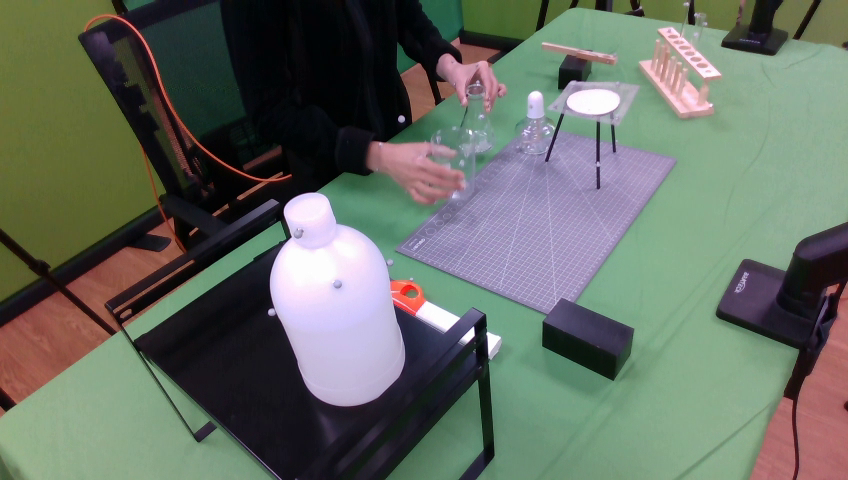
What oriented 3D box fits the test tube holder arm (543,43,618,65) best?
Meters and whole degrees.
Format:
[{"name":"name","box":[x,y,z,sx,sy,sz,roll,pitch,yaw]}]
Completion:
[{"name":"test tube holder arm","box":[0.344,-0.413,1.340,0.177,0.015,0.013,25,51,31]}]

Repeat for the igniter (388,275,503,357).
[{"name":"igniter","box":[-0.008,0.093,0.870,0.274,0.025,0.057,24,60,33]}]

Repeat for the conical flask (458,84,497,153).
[{"name":"conical flask","box":[0.098,-0.225,1.115,0.075,0.122,0.075,-2,48,3]}]

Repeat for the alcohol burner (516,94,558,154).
[{"name":"alcohol burner","box":[0.212,-0.222,1.135,0.078,0.119,0.077,-5,43,5]}]

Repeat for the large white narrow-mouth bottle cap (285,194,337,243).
[{"name":"large white narrow-mouth bottle cap","box":[-0.087,-0.017,0.467,0.038,0.024,0.037,-4,40,4]}]

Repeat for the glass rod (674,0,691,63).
[{"name":"glass rod","box":[0.537,-0.437,1.257,0.008,0.200,0.008,0,39,1]}]

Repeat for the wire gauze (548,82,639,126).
[{"name":"wire gauze","box":[0.286,-0.235,1.019,0.124,0.011,0.121,17,46,28]}]

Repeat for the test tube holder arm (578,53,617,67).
[{"name":"test tube holder arm","box":[0.376,-0.393,1.314,0.087,0.015,0.010,26,51,32]}]

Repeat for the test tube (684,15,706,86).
[{"name":"test tube","box":[0.541,-0.378,1.215,0.017,0.151,0.017,-2,44,3]}]

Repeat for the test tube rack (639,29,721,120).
[{"name":"test tube rack","box":[0.527,-0.351,1.262,0.067,0.085,0.241,-8,40,1]}]

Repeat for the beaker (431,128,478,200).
[{"name":"beaker","box":[0.053,-0.124,0.996,0.084,0.100,0.073,-27,47,-25]}]

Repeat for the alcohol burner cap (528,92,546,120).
[{"name":"alcohol burner cap","box":[0.206,-0.249,1.112,0.034,0.048,0.033,-6,35,5]}]

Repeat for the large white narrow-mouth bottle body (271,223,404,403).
[{"name":"large white narrow-mouth bottle body","box":[-0.077,0.048,0.525,0.102,0.195,0.101,-5,41,4]}]

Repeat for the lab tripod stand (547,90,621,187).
[{"name":"lab tripod stand","box":[0.289,-0.184,1.062,0.148,0.132,0.147,-6,41,6]}]
